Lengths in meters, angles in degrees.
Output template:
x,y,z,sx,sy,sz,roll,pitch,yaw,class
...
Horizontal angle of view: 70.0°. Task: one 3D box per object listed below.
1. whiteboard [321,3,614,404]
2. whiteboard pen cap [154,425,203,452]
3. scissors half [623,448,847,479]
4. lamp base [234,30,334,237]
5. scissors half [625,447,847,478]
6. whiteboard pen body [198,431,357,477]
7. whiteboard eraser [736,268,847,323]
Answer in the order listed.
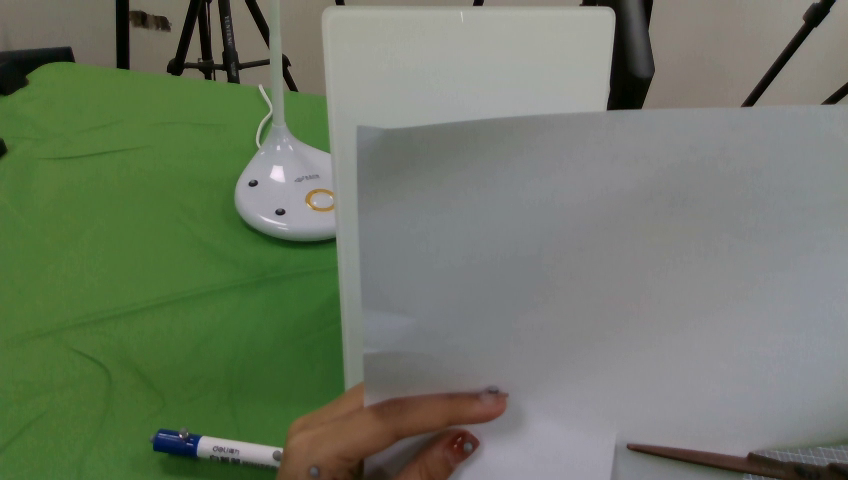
x,y,z,sx,sy,sz,roll,pitch,yaw,class
0.022,-0.042,0.531,0.218,0.307,0.142,-6,21,-14,whiteboard
-0.177,0.145,0.442,0.033,0.018,0.018,9,39,-2,whiteboard pen cap
0.170,0.096,0.241,0.174,0.040,0.012,-2,76,31,scissors half
-0.138,-0.121,0.658,0.161,0.182,0.177,-27,47,-34,lamp base
0.176,0.101,0.262,0.175,0.040,0.013,5,73,3,scissors half
-0.119,0.154,0.443,0.141,0.017,0.017,10,39,0,whiteboard pen body
0.387,0.057,0.624,0.113,0.042,0.055,2,40,-6,whiteboard eraser
